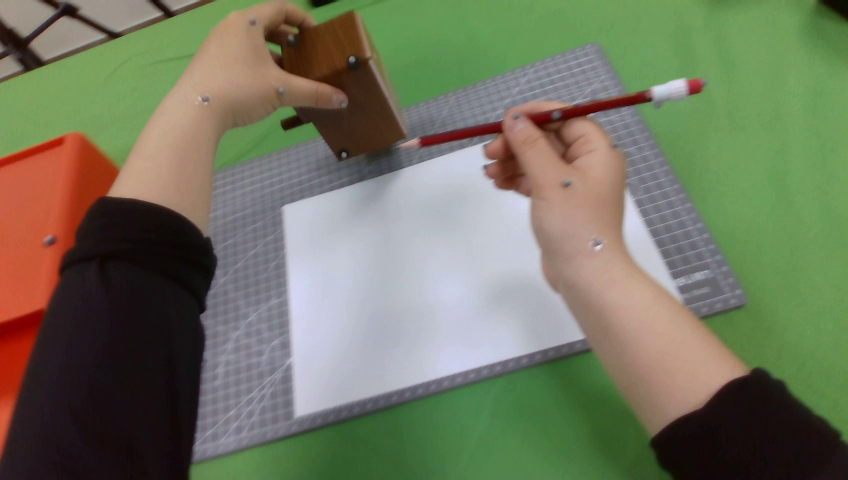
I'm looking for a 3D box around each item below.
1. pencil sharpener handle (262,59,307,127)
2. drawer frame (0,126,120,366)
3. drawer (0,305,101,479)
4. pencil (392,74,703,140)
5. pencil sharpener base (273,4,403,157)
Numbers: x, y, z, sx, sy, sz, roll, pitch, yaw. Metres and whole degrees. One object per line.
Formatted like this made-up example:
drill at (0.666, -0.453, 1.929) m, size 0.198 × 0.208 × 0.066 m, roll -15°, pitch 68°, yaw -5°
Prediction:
pencil sharpener handle at (-0.123, -0.119, 0.511) m, size 0.030 × 0.068 × 0.035 m, roll -20°, pitch 64°, yaw 7°
drawer frame at (-0.407, 0.019, 0.577) m, size 0.201 × 0.083 × 0.211 m, roll -18°, pitch 55°, yaw 6°
drawer at (-0.382, 0.114, 0.513) m, size 0.194 × 0.074 × 0.209 m, roll -19°, pitch 55°, yaw 6°
pencil at (0.072, -0.081, 0.383) m, size 0.194 × 0.012 × 0.012 m, roll -8°, pitch 57°, yaw 13°
pencil sharpener base at (-0.071, -0.130, 0.516) m, size 0.076 × 0.108 × 0.061 m, roll -20°, pitch 60°, yaw 7°
